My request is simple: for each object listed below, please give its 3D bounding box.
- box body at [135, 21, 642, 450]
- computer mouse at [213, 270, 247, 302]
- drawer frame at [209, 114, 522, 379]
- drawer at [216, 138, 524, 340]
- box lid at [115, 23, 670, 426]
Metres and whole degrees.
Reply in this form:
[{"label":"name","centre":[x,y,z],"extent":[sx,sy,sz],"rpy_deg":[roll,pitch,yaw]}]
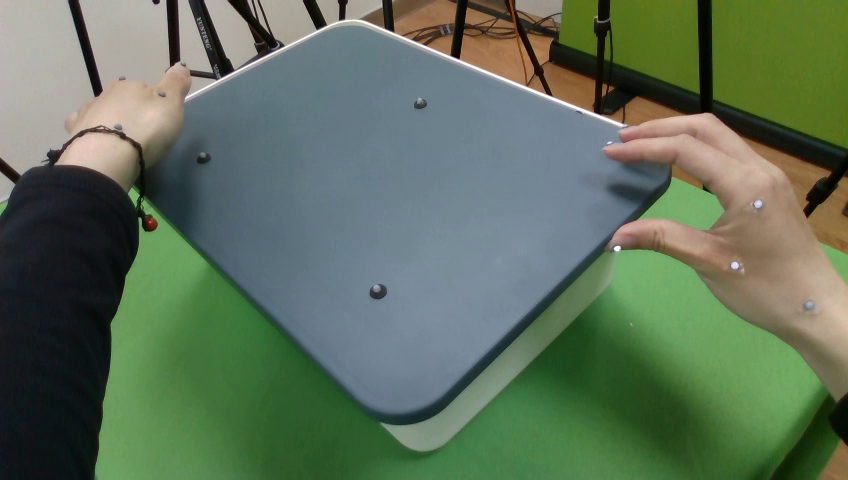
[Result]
[{"label":"box body","centre":[-0.038,-0.029,0.533],"extent":[0.254,0.162,0.360],"rpy_deg":[-37,51,-25]},{"label":"computer mouse","centre":[-0.120,0.024,0.521],"extent":[0.117,0.041,0.062],"rpy_deg":[5,43,6]},{"label":"drawer frame","centre":[-0.052,-0.010,0.565],"extent":[0.200,0.083,0.213],"rpy_deg":[29,55,33]},{"label":"drawer","centre":[-0.046,-0.020,0.563],"extent":[0.193,0.074,0.212],"rpy_deg":[23,37,36]},{"label":"box lid","centre":[-0.042,-0.056,0.446],"extent":[0.263,0.015,0.368],"rpy_deg":[-39,52,-24]}]
